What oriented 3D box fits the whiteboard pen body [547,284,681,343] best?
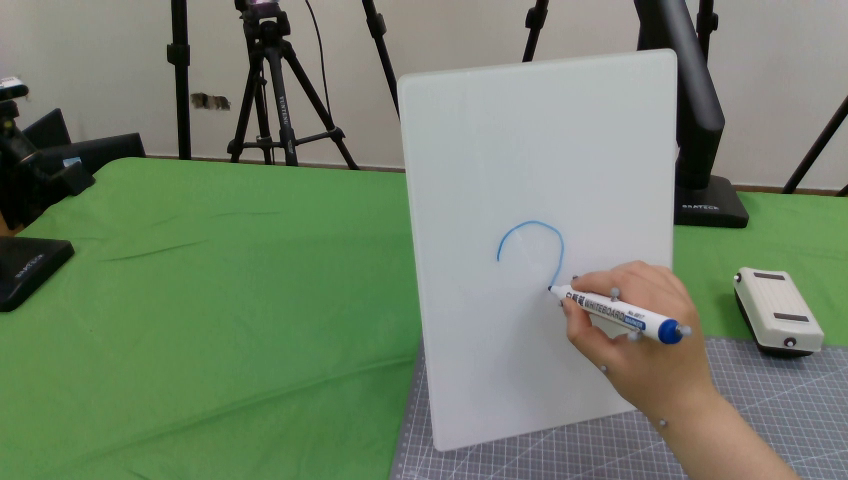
[{"bbox_3d":[0.122,0.046,0.417,0.017,0.017,0.140,-13,11,-17],"label":"whiteboard pen body"}]

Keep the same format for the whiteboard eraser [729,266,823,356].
[{"bbox_3d":[0.352,0.071,0.614,0.055,0.042,0.112,4,31,9],"label":"whiteboard eraser"}]

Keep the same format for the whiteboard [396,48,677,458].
[{"bbox_3d":[0.086,0.000,0.538,0.218,0.307,0.143,-8,16,-10],"label":"whiteboard"}]
